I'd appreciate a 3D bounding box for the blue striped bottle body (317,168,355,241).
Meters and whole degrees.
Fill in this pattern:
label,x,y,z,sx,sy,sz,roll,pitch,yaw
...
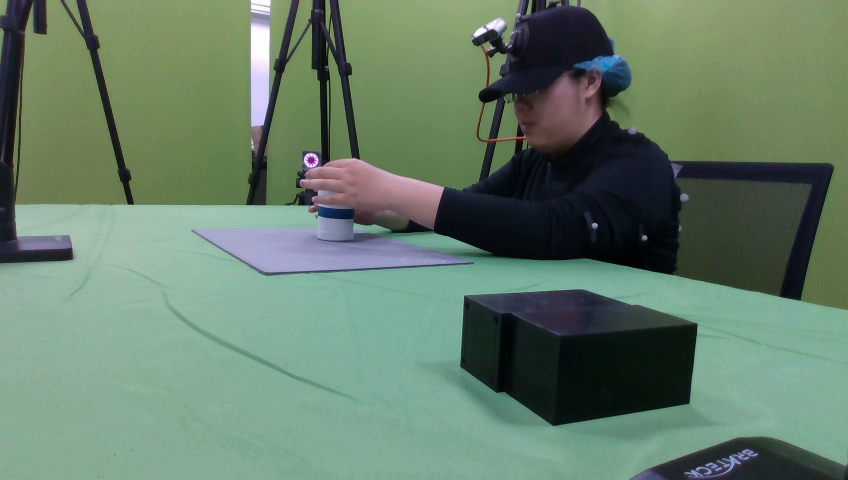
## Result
label,x,y,z,sx,sy,sz,roll,pitch,yaw
blue striped bottle body,-0.149,-0.061,1.024,0.063,0.120,0.063,2,7,0

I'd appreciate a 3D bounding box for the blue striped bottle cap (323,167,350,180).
label,x,y,z,sx,sy,sz,roll,pitch,yaw
blue striped bottle cap,-0.147,-0.112,1.017,0.044,0.020,0.044,4,10,0
